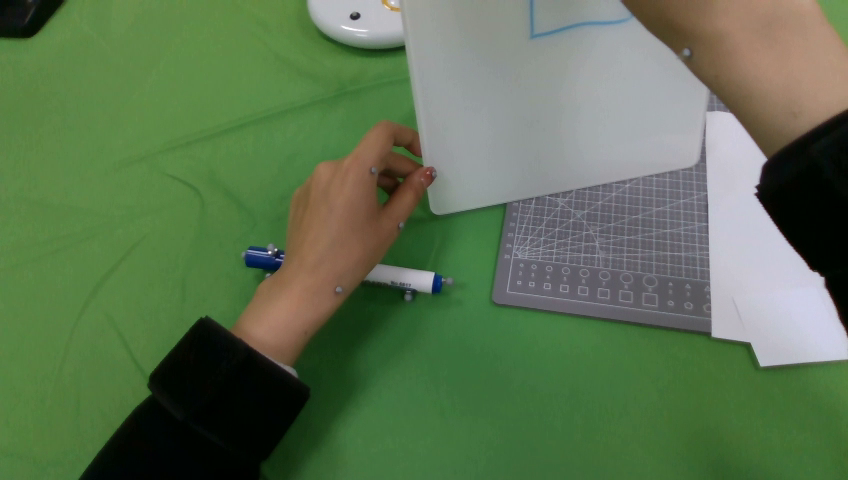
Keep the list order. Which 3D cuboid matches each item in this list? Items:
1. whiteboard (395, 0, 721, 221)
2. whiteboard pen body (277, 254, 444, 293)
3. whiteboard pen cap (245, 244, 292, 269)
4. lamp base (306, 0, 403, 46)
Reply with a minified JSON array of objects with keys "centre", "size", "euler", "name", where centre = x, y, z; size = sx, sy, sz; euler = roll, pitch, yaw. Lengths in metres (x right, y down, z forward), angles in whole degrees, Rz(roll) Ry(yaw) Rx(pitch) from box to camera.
[{"centre":[0.083,-0.197,0.442],"size":[0.217,0.308,0.142],"euler":[-10,36,-1],"name":"whiteboard"},{"centre":[-0.056,0.022,0.439],"size":[0.140,0.017,0.017],"euler":[7,56,7],"name":"whiteboard pen body"},{"centre":[-0.114,0.013,0.448],"size":[0.033,0.018,0.018],"euler":[6,56,7],"name":"whiteboard pen cap"},{"centre":[-0.057,-0.306,0.569],"size":[0.160,0.182,0.177],"euler":[-34,57,-17],"name":"lamp base"}]
